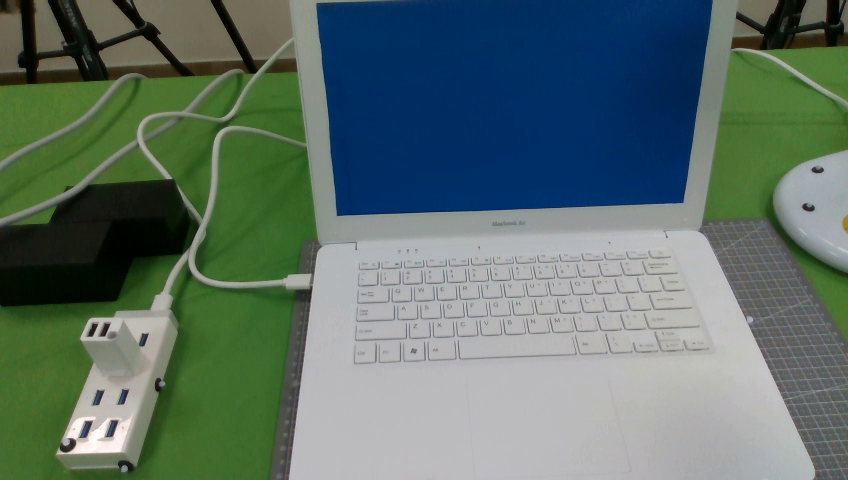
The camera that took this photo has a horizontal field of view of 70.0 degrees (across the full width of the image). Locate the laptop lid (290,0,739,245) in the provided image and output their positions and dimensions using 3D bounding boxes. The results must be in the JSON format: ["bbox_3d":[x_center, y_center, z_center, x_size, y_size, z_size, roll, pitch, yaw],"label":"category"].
[{"bbox_3d":[0.075,-0.105,0.511,0.357,0.243,0.013,-4,25,-1],"label":"laptop lid"}]

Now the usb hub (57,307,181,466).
[{"bbox_3d":[-0.226,0.107,0.459,0.049,0.025,0.124,-2,45,0],"label":"usb hub"}]

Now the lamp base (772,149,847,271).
[{"bbox_3d":[0.421,-0.084,0.527,0.159,0.182,0.178,20,47,20],"label":"lamp base"}]

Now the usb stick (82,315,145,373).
[{"bbox_3d":[-0.224,0.081,0.444,0.027,0.060,0.021,-4,46,0],"label":"usb stick"}]

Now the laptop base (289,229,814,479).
[{"bbox_3d":[0.082,0.086,0.479,0.354,0.023,0.233,-2,49,-1],"label":"laptop base"}]
